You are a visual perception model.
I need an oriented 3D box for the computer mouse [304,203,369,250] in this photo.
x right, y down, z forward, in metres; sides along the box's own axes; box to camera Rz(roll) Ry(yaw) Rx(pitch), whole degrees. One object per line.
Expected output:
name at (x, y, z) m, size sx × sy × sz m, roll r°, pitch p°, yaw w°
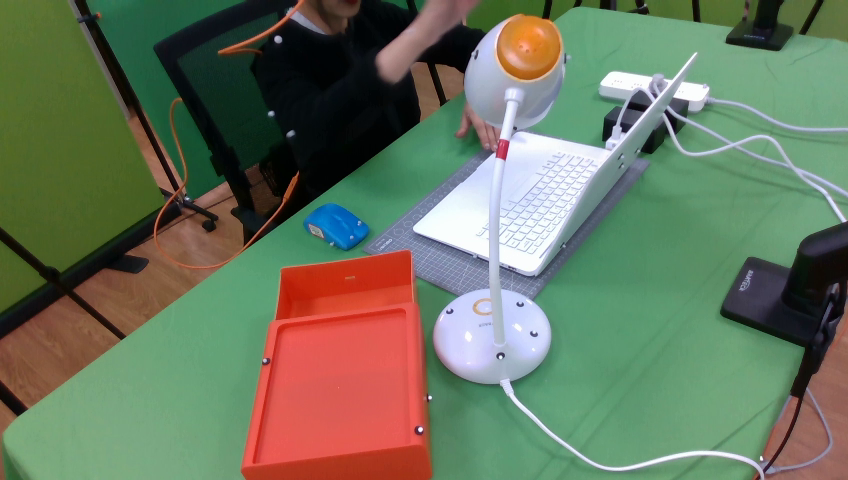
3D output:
computer mouse at (-0.151, -0.027, 1.037) m, size 0.116 × 0.041 × 0.063 m, roll 28°, pitch 50°, yaw 31°

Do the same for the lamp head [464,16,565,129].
lamp head at (0.101, -0.184, 0.655) m, size 0.112 × 0.112 × 0.123 m, roll -9°, pitch 1°, yaw 0°

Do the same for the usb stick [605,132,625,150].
usb stick at (0.349, -0.174, 1.110) m, size 0.021 × 0.027 × 0.059 m, roll 21°, pitch 48°, yaw 31°

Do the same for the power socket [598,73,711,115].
power socket at (0.470, -0.304, 1.248) m, size 0.225 × 0.033 × 0.072 m, roll 20°, pitch 49°, yaw 30°

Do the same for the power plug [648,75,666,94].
power plug at (0.457, -0.301, 1.212) m, size 0.073 × 0.053 × 0.035 m, roll -36°, pitch 46°, yaw -28°

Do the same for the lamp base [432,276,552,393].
lamp base at (0.085, 0.075, 0.756) m, size 0.161 × 0.181 × 0.178 m, roll -14°, pitch 44°, yaw -6°

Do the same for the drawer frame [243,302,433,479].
drawer frame at (-0.096, 0.185, 0.738) m, size 0.202 × 0.083 × 0.212 m, roll -8°, pitch 40°, yaw 1°

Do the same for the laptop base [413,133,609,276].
laptop base at (0.176, -0.077, 1.048) m, size 0.233 × 0.023 × 0.355 m, roll 19°, pitch 47°, yaw 34°

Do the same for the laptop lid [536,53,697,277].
laptop lid at (0.287, -0.112, 0.894) m, size 0.013 × 0.242 × 0.357 m, roll 35°, pitch 53°, yaw 16°

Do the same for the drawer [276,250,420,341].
drawer at (-0.103, 0.117, 0.825) m, size 0.194 × 0.073 × 0.210 m, roll -8°, pitch 40°, yaw 1°

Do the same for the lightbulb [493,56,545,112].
lightbulb at (0.110, -0.180, 0.679) m, size 0.059 × 0.059 × 0.107 m, roll -11°, pitch -1°, yaw -1°
